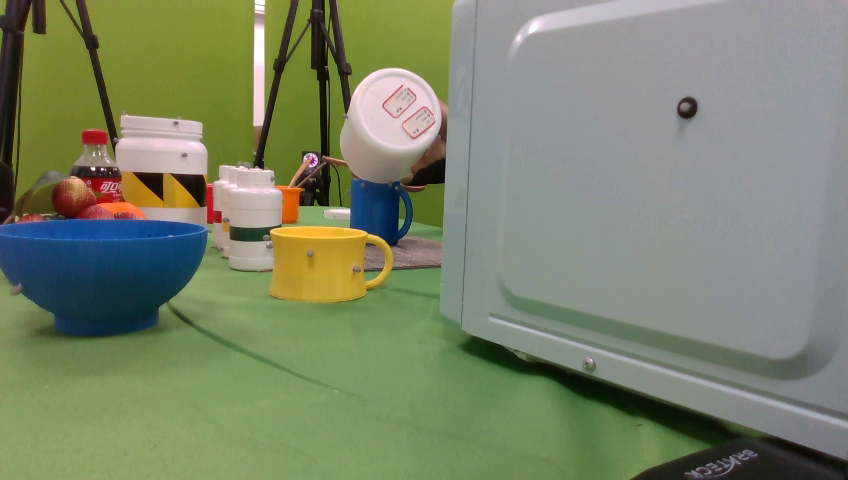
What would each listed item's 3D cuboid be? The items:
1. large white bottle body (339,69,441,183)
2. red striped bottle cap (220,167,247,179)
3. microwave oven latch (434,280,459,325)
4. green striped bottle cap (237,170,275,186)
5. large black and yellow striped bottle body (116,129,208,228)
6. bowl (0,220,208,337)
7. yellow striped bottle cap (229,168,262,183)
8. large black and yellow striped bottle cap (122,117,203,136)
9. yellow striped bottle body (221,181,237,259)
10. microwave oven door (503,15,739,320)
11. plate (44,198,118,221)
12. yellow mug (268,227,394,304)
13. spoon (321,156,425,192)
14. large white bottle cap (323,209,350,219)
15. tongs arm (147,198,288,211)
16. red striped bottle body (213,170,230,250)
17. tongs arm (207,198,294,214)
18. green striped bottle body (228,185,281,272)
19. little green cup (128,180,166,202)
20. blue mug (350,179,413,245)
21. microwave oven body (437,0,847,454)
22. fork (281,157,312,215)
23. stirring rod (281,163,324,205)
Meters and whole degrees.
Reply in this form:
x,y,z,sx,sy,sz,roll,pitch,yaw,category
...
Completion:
x,y,z,sx,sy,sz,roll,pitch,yaw,category
-0.058,-0.161,0.915,0.131,0.130,0.184,1,-10,-14,large white bottle body
-0.281,-0.100,0.901,0.044,0.017,0.044,-1,4,0,red striped bottle cap
0.044,0.045,0.470,0.079,0.029,0.030,-2,8,-39,microwave oven latch
-0.205,-0.075,0.737,0.044,0.020,0.044,1,7,0,green striped bottle cap
-0.404,-0.089,0.937,0.131,0.184,0.130,3,7,0,large black and yellow striped bottle body
-0.251,0.030,0.479,0.151,0.077,0.151,2,7,0,bowl
-0.240,-0.087,0.816,0.044,0.018,0.044,-3,5,1,yellow striped bottle cap
-0.399,-0.174,0.927,0.115,0.019,0.115,5,9,-1,large black and yellow striped bottle cap
-0.244,-0.035,0.823,0.063,0.120,0.063,2,8,0,yellow striped bottle body
0.218,-0.065,0.600,0.358,0.243,0.039,-4,10,-41,microwave oven door
-0.617,-0.056,1.179,0.209,0.038,0.209,3,7,0,plate
-0.094,0.023,0.629,0.131,0.064,0.099,0,7,-22,yellow mug
-0.091,-0.120,1.090,0.194,0.021,0.041,20,7,-11,spoon
-0.184,-0.062,1.449,0.115,0.018,0.115,2,7,0,large white bottle cap
-0.503,-0.091,1.513,0.028,0.028,0.389,-1,4,38,tongs arm
-0.283,-0.047,0.909,0.063,0.119,0.063,3,14,0,red striped bottle body
-0.423,-0.084,1.472,0.050,0.026,0.386,2,6,22,tongs arm
-0.208,-0.024,0.745,0.063,0.119,0.063,2,7,0,green striped bottle body
-0.485,-0.087,1.062,0.061,0.038,0.061,-1,6,0,little green cup
-0.068,-0.047,1.001,0.116,0.106,0.083,6,8,29,blue mug
0.279,-0.040,0.464,0.444,0.260,0.324,-3,9,-41,microwave oven body
-0.289,-0.116,1.321,0.028,0.019,0.207,7,52,18,fork
-0.278,-0.105,1.293,0.176,0.006,0.014,-47,25,-18,stirring rod
